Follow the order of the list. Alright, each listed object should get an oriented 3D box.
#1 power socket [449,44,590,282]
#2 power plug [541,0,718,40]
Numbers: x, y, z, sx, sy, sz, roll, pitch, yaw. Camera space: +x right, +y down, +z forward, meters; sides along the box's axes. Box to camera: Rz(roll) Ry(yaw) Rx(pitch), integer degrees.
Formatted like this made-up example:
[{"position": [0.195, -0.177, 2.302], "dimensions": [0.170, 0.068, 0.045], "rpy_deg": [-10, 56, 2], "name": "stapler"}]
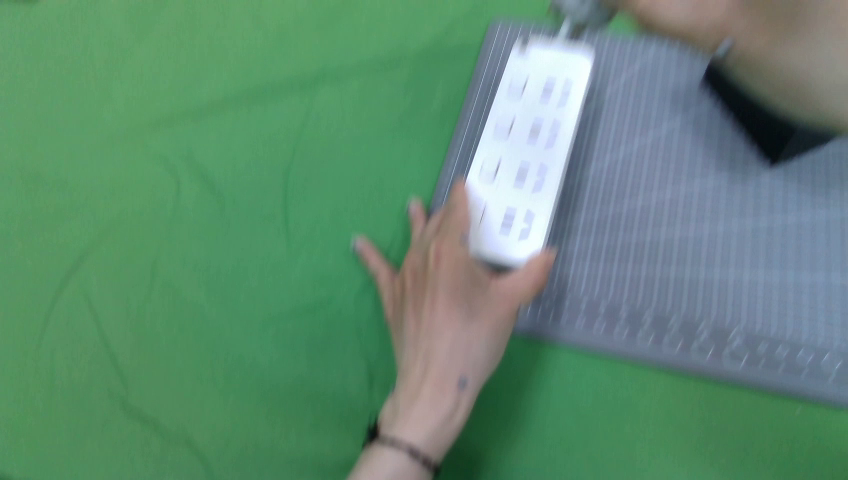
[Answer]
[{"position": [0.080, -0.072, 0.485], "dimensions": [0.072, 0.033, 0.225], "rpy_deg": [13, 62, 13], "name": "power socket"}, {"position": [0.089, -0.105, 0.285], "dimensions": [0.072, 0.052, 0.035], "rpy_deg": [32, 77, -4], "name": "power plug"}]
